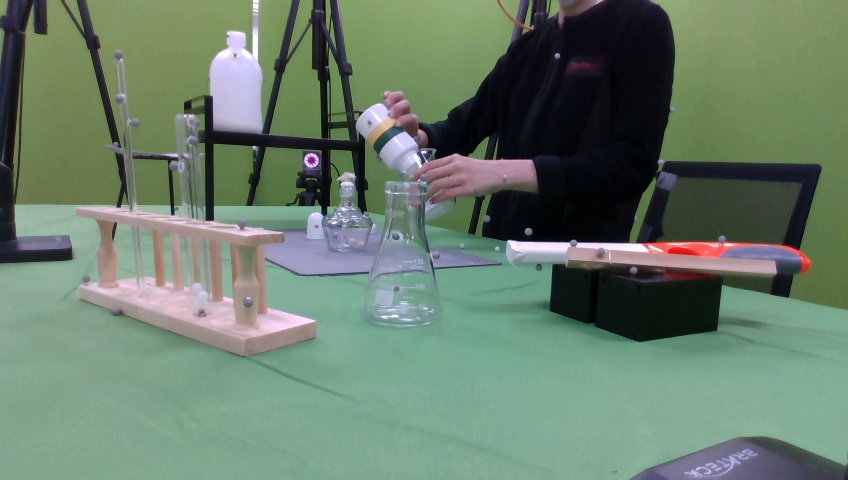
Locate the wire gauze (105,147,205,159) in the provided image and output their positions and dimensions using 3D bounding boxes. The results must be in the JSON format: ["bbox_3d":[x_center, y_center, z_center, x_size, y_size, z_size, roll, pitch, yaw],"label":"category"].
[{"bbox_3d":[-0.407,-0.131,0.928,0.125,0.011,0.121,2,6,-11],"label":"wire gauze"}]

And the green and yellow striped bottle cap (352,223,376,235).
[{"bbox_3d":[-0.113,-0.021,1.140,0.045,0.020,0.045,3,6,0],"label":"green and yellow striped bottle cap"}]

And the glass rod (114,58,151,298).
[{"bbox_3d":[-0.236,-0.044,0.492,0.008,0.199,0.008,1,15,0],"label":"glass rod"}]

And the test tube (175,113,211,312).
[{"bbox_3d":[-0.175,-0.020,0.458,0.017,0.150,0.017,-3,5,1],"label":"test tube"}]

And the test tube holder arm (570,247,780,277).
[{"bbox_3d":[0.217,0.019,0.525,0.178,0.015,0.013,3,-23,3],"label":"test tube holder arm"}]

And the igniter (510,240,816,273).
[{"bbox_3d":[0.220,0.015,0.566,0.277,0.025,0.057,2,16,0],"label":"igniter"}]

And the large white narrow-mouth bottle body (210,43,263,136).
[{"bbox_3d":[-0.369,-0.305,1.194,0.102,0.194,0.102,3,8,0],"label":"large white narrow-mouth bottle body"}]

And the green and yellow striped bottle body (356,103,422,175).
[{"bbox_3d":[-0.054,-0.166,1.013,0.063,0.119,0.063,-38,-8,-6],"label":"green and yellow striped bottle body"}]

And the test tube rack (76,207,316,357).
[{"bbox_3d":[-0.196,0.023,0.499,0.241,0.085,0.067,8,9,36],"label":"test tube rack"}]

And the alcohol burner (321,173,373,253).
[{"bbox_3d":[-0.115,-0.041,0.905,0.078,0.119,0.078,0,6,0],"label":"alcohol burner"}]

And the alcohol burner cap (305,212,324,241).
[{"bbox_3d":[-0.185,-0.023,1.027,0.034,0.048,0.034,2,7,0],"label":"alcohol burner cap"}]

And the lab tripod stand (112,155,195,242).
[{"bbox_3d":[-0.405,-0.064,0.931,0.148,0.131,0.148,1,6,0],"label":"lab tripod stand"}]

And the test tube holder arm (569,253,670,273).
[{"bbox_3d":[0.172,0.019,0.532,0.088,0.015,0.010,3,-23,3],"label":"test tube holder arm"}]

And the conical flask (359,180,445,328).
[{"bbox_3d":[-0.017,0.010,0.522,0.075,0.122,0.075,2,7,0],"label":"conical flask"}]

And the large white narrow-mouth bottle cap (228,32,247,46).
[{"bbox_3d":[-0.364,-0.391,1.180,0.038,0.024,0.037,3,8,0],"label":"large white narrow-mouth bottle cap"}]

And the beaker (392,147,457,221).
[{"bbox_3d":[0.006,-0.091,0.987,0.084,0.100,0.074,-32,-15,23],"label":"beaker"}]
